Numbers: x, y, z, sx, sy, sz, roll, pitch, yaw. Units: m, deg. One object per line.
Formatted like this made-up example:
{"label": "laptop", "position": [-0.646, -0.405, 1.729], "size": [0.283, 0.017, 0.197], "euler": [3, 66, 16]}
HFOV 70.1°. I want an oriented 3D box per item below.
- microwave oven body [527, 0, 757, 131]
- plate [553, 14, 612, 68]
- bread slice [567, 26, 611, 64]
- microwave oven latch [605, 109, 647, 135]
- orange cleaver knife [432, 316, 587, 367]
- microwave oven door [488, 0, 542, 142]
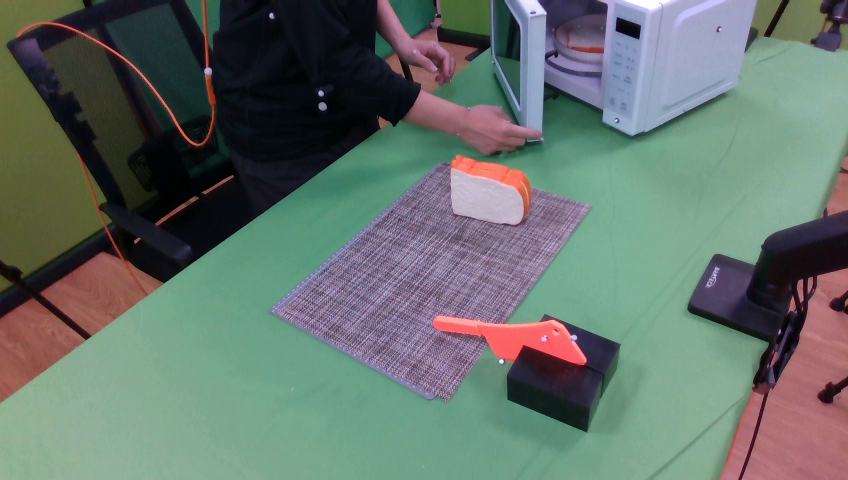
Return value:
{"label": "microwave oven body", "position": [0.396, -0.448, 1.248], "size": [0.327, 0.261, 0.437], "euler": [-27, 44, -21]}
{"label": "plate", "position": [0.385, -0.428, 1.314], "size": [0.207, 0.039, 0.206], "euler": [-2, 45, 3]}
{"label": "bread slice", "position": [0.363, -0.427, 1.326], "size": [0.107, 0.018, 0.133], "euler": [1, 50, 4]}
{"label": "microwave oven latch", "position": [0.378, -0.225, 1.140], "size": [0.030, 0.029, 0.078], "euler": [-26, 43, -20]}
{"label": "orange cleaver knife", "position": [0.101, 0.127, 0.761], "size": [0.210, 0.077, 0.012], "euler": [-1, 34, 40]}
{"label": "microwave oven door", "position": [0.178, -0.390, 1.204], "size": [0.039, 0.245, 0.353], "euler": [-8, 40, -2]}
